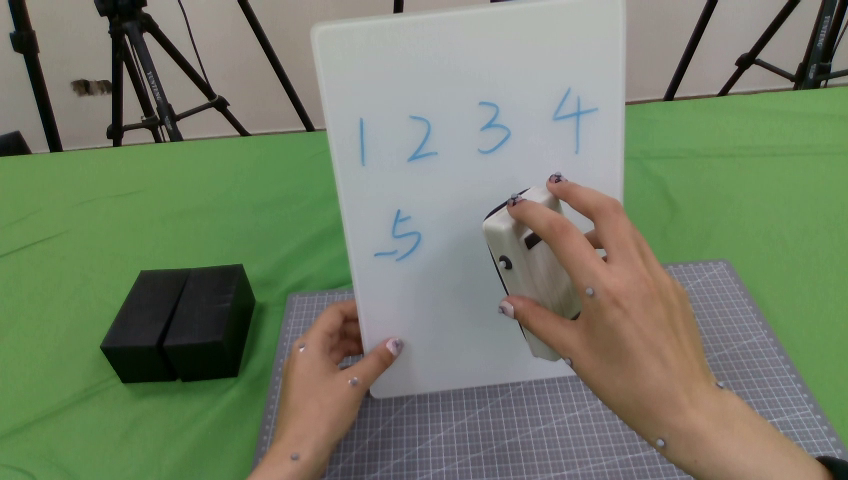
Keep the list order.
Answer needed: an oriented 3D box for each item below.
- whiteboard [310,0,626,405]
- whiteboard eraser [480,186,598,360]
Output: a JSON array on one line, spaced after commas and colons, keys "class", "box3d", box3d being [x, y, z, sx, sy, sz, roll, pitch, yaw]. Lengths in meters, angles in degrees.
[{"class": "whiteboard", "box3d": [0.043, -0.038, 0.524, 0.217, 0.307, 0.143, -6, 20, 0]}, {"class": "whiteboard eraser", "box3d": [0.078, 0.023, 0.417, 0.055, 0.113, 0.041, -37, 25, -27]}]
